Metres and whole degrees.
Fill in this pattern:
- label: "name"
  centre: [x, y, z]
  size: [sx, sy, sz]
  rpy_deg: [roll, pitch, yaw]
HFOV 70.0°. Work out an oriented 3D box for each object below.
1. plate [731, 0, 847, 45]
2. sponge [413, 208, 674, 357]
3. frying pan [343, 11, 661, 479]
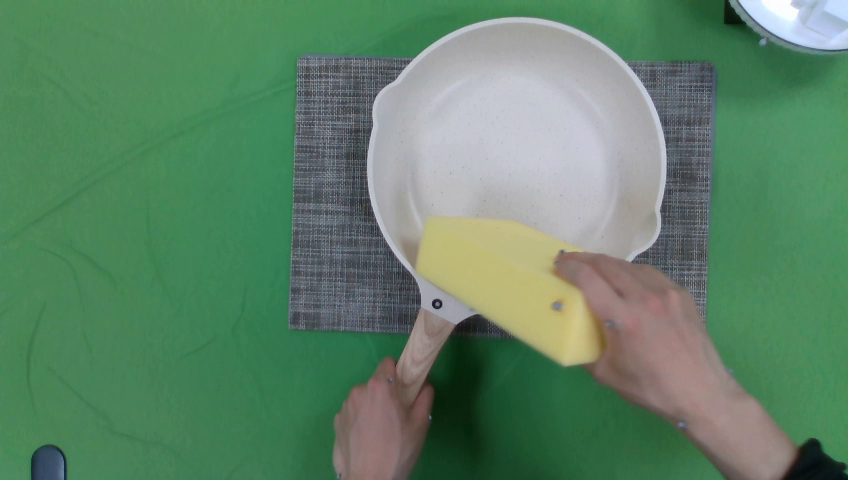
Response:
- label: "plate"
  centre: [0.376, -0.286, 0.577]
  size: [0.207, 0.039, 0.207]
  rpy_deg: [0, 90, 2]
- label: "sponge"
  centre: [0.096, 0.028, 0.542]
  size: [0.119, 0.205, 0.061]
  rpy_deg: [1, 106, -35]
- label: "frying pan"
  centre: [0.038, 0.013, 0.610]
  size: [0.306, 0.103, 0.487]
  rpy_deg: [27, 83, 4]
